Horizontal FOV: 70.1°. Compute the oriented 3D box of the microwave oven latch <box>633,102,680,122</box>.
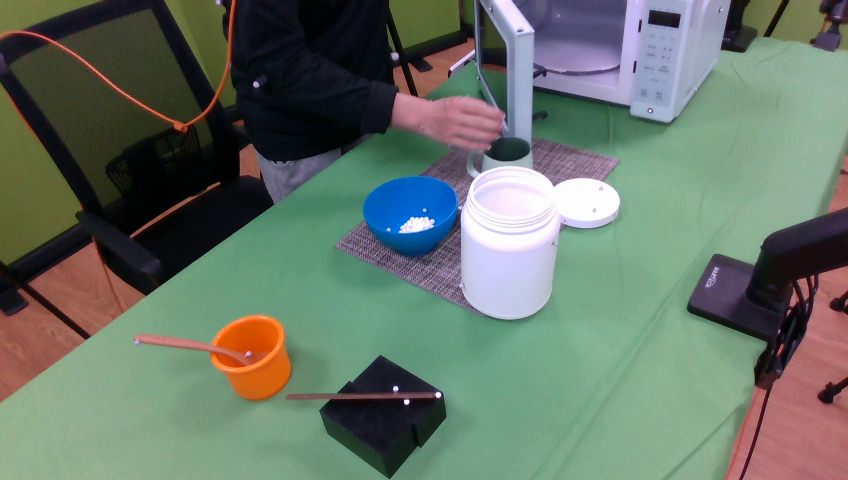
[{"bbox_3d":[0.444,-0.249,1.157,0.078,0.029,0.030,21,49,30],"label":"microwave oven latch"}]

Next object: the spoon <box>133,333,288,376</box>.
[{"bbox_3d":[-0.257,0.137,0.747,0.021,0.195,0.041,-46,40,23],"label":"spoon"}]

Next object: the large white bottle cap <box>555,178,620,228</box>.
[{"bbox_3d":[0.265,-0.063,1.001,0.115,0.018,0.114,-3,42,3],"label":"large white bottle cap"}]

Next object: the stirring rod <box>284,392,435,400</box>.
[{"bbox_3d":[-0.075,0.180,0.698,0.176,0.006,0.014,-1,6,6],"label":"stirring rod"}]

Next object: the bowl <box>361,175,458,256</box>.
[{"bbox_3d":[-0.019,-0.028,0.955,0.151,0.077,0.150,-4,40,4],"label":"bowl"}]

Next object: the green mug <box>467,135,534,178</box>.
[{"bbox_3d":[0.126,-0.114,1.014,0.124,0.105,0.093,22,49,29],"label":"green mug"}]

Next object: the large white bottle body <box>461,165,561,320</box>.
[{"bbox_3d":[0.115,0.004,0.815,0.130,0.185,0.130,-2,43,2],"label":"large white bottle body"}]

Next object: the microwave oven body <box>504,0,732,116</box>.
[{"bbox_3d":[0.377,-0.462,1.267,0.438,0.261,0.327,21,48,30],"label":"microwave oven body"}]

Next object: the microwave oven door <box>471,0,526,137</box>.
[{"bbox_3d":[0.142,-0.342,1.154,0.039,0.245,0.353,-9,40,-2],"label":"microwave oven door"}]
